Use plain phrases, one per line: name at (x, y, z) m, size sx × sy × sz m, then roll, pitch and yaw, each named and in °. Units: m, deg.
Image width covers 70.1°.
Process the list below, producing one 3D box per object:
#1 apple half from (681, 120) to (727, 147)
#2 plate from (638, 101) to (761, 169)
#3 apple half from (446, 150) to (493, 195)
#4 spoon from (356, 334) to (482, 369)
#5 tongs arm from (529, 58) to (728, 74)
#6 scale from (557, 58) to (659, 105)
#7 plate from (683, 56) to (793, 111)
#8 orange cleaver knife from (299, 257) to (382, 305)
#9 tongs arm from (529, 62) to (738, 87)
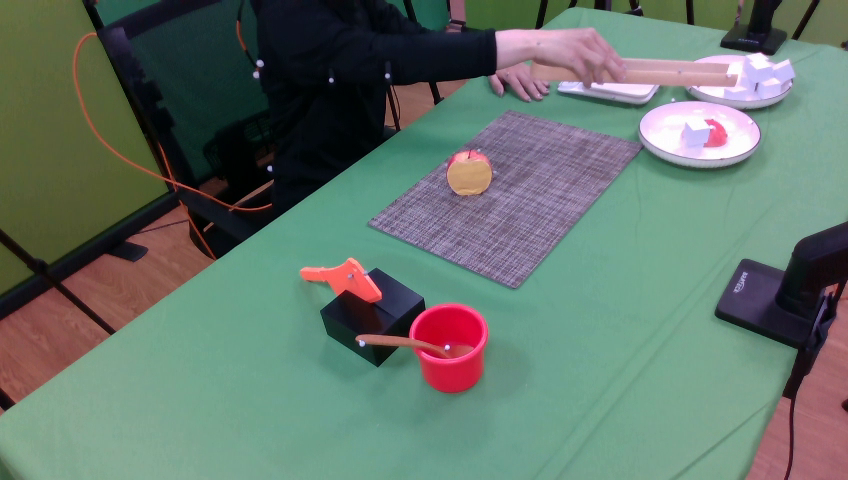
apple half at (0.518, -0.202, 1.115) m, size 0.081 × 0.033 × 0.081 m, roll -1°, pitch 40°, yaw 1°
plate at (0.500, -0.189, 1.111) m, size 0.209 × 0.038 × 0.208 m, roll -4°, pitch 41°, yaw 4°
apple half at (0.080, -0.123, 1.065) m, size 0.081 × 0.075 × 0.053 m, roll -7°, pitch 36°, yaw 7°
spoon at (-0.001, 0.130, 0.731) m, size 0.195 × 0.021 × 0.041 m, roll 22°, pitch 28°, yaw -39°
tongs arm at (0.388, -0.322, 1.144) m, size 0.388 × 0.028 × 0.028 m, roll 1°, pitch 38°, yaw -5°
scale at (0.407, -0.348, 1.314) m, size 0.199 × 0.032 × 0.149 m, roll 18°, pitch 46°, yaw 28°
plate at (0.636, -0.317, 1.239) m, size 0.207 × 0.039 × 0.206 m, roll -4°, pitch 40°, yaw 4°
orange cleaver knife at (-0.124, 0.062, 0.872) m, size 0.012 × 0.077 × 0.210 m, roll -38°, pitch 17°, yaw -30°
tongs arm at (0.389, -0.306, 1.120) m, size 0.386 × 0.026 × 0.050 m, roll -1°, pitch 35°, yaw -7°
